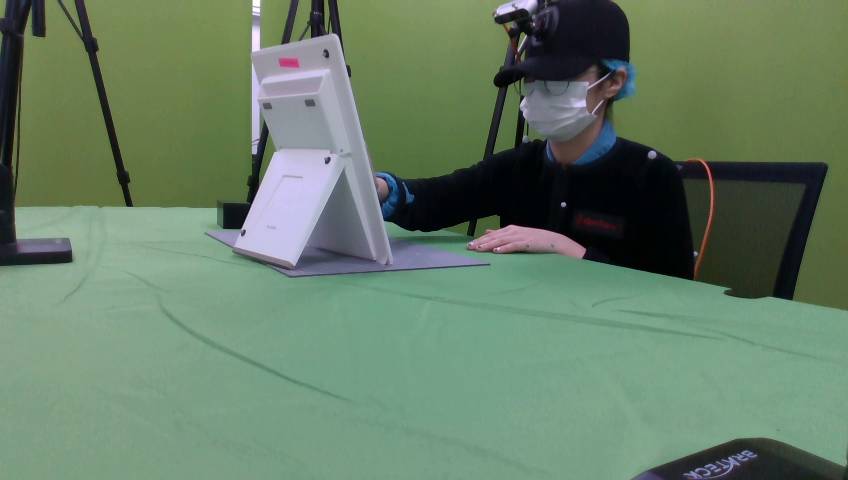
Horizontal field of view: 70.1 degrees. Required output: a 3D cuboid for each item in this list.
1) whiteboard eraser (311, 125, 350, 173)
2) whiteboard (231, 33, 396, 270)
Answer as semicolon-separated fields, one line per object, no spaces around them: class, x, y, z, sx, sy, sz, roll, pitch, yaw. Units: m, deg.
whiteboard eraser;-0.131;-0.125;0.840;0.019;0.041;0.101;-26;-3;-33
whiteboard;-0.193;-0.094;0.805;0.144;0.305;0.216;-29;25;-35
